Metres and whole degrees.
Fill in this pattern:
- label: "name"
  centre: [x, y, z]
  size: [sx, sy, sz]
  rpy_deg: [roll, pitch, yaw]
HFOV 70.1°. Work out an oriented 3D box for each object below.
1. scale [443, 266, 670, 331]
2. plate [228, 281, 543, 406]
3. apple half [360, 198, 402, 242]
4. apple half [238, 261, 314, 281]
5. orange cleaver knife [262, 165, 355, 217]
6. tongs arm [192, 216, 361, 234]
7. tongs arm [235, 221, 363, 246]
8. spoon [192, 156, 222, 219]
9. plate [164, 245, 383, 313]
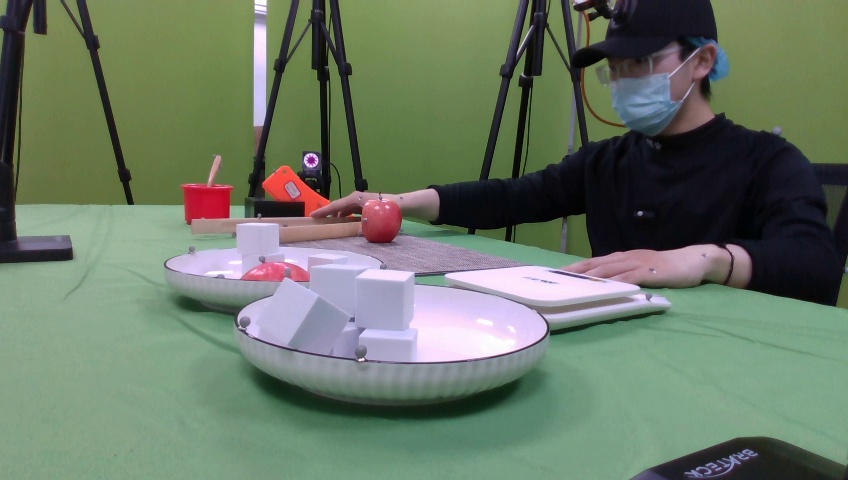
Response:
- label: "scale"
  centre: [0.131, 0.052, 0.603]
  size: [0.202, 0.031, 0.148]
  rpy_deg: [-2, 9, -37]
- label: "plate"
  centre: [-0.025, 0.067, 0.413]
  size: [0.208, 0.039, 0.207]
  rpy_deg: [3, 7, 0]
- label: "apple half"
  centre: [-0.066, -0.032, 1.014]
  size: [0.053, 0.074, 0.081]
  rpy_deg: [9, 6, 21]
- label: "apple half"
  centre: [-0.141, 0.035, 0.578]
  size: [0.081, 0.033, 0.081]
  rpy_deg: [2, 11, 0]
- label: "orange cleaver knife"
  centre: [-0.243, -0.081, 1.292]
  size: [0.212, 0.077, 0.012]
  rpy_deg: [34, -8, -26]
- label: "tongs arm"
  centre: [-0.218, -0.028, 1.089]
  size: [0.387, 0.026, 0.050]
  rpy_deg: [-4, 8, -44]
- label: "tongs arm"
  centre: [-0.163, -0.018, 1.041]
  size: [0.028, 0.028, 0.389]
  rpy_deg: [2, 5, 35]
- label: "spoon"
  centre: [-0.430, -0.108, 1.222]
  size: [0.041, 0.021, 0.193]
  rpy_deg: [-1, 52, 0]
- label: "plate"
  centre: [-0.145, 0.038, 0.600]
  size: [0.209, 0.038, 0.209]
  rpy_deg: [2, 8, 0]
